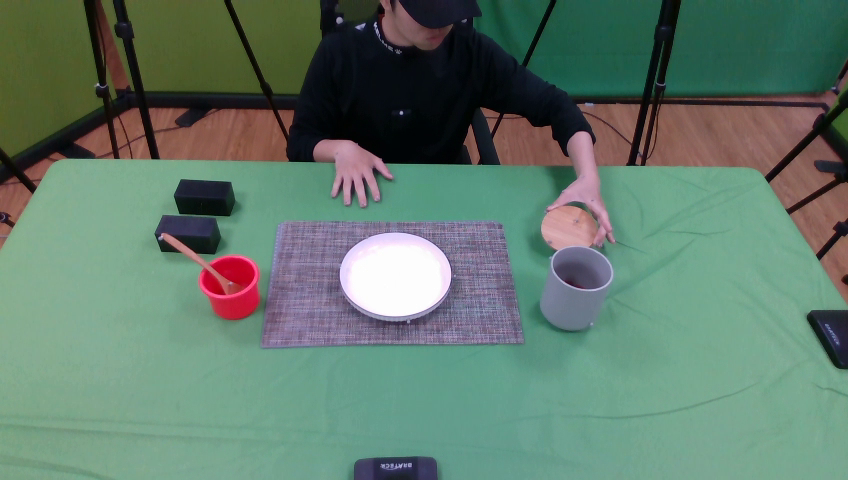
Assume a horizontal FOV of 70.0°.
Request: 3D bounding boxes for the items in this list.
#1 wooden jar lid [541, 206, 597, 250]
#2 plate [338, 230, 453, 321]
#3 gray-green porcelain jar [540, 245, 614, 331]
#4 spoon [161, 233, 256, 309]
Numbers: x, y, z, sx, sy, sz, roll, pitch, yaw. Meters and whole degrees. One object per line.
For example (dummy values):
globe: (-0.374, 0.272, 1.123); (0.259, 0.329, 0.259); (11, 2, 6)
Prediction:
wooden jar lid: (0.285, -0.018, 1.192); (0.108, 0.021, 0.108); (-3, 60, 5)
plate: (-0.051, 0.068, 1.111); (0.208, 0.039, 0.206); (2, 46, -2)
gray-green porcelain jar: (0.262, 0.088, 1.058); (0.106, 0.127, 0.105); (2, 46, -2)
spoon: (-0.366, 0.051, 1.036); (0.194, 0.021, 0.041); (47, 45, -21)
